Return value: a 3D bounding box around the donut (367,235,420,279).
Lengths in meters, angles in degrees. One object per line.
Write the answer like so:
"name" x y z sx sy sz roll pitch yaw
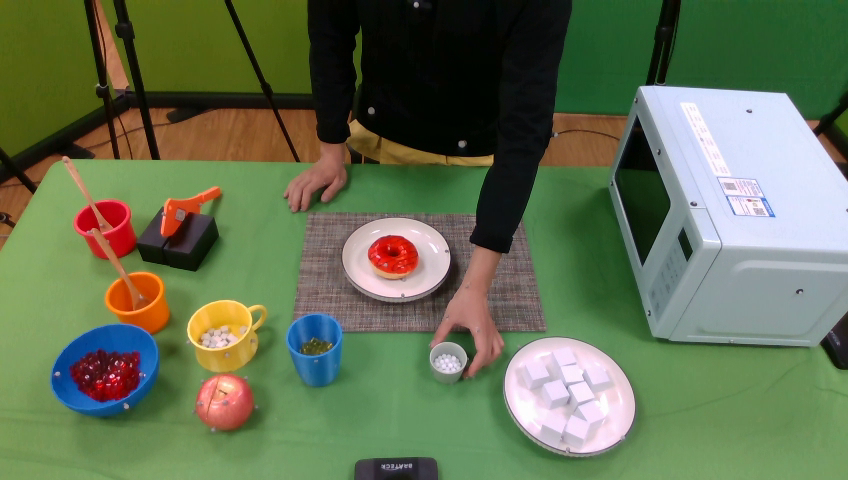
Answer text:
"donut" -0.057 0.032 1.132 0.099 0.048 0.098 3 46 -3

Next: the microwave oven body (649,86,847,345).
"microwave oven body" 0.568 -0.053 1.118 0.326 0.261 0.439 2 45 -1

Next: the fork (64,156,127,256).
"fork" -0.614 -0.064 1.130 0.028 0.018 0.207 -30 97 -18

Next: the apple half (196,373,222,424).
"apple half" -0.322 0.239 0.906 0.033 0.081 0.081 7 46 0

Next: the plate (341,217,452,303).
"plate" -0.052 0.040 1.140 0.209 0.038 0.208 2 46 -2

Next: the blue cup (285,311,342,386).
"blue cup" -0.170 0.180 0.958 0.093 0.101 0.092 2 44 -1

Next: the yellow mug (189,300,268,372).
"yellow mug" -0.315 0.149 1.001 0.131 0.064 0.099 -33 55 -31

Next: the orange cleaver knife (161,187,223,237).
"orange cleaver knife" -0.448 -0.058 1.180 0.012 0.077 0.211 13 17 6

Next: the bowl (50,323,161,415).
"bowl" -0.472 0.209 0.924 0.151 0.077 0.150 2 45 -2

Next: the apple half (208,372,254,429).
"apple half" -0.282 0.244 0.908 0.053 0.075 0.080 7 43 -1

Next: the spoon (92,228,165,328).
"spoon" -0.496 0.063 1.014 0.041 0.194 0.021 -33 13 -30

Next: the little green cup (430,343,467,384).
"little green cup" 0.038 0.204 0.993 0.061 0.039 0.061 3 46 -3

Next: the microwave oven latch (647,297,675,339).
"microwave oven latch" 0.413 0.134 1.061 0.030 0.029 0.078 5 45 2

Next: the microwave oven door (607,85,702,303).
"microwave oven door" 0.424 -0.094 1.140 0.039 0.245 0.353 2 46 -1

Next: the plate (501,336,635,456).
"plate" 0.225 0.249 0.963 0.208 0.039 0.206 2 46 -2
